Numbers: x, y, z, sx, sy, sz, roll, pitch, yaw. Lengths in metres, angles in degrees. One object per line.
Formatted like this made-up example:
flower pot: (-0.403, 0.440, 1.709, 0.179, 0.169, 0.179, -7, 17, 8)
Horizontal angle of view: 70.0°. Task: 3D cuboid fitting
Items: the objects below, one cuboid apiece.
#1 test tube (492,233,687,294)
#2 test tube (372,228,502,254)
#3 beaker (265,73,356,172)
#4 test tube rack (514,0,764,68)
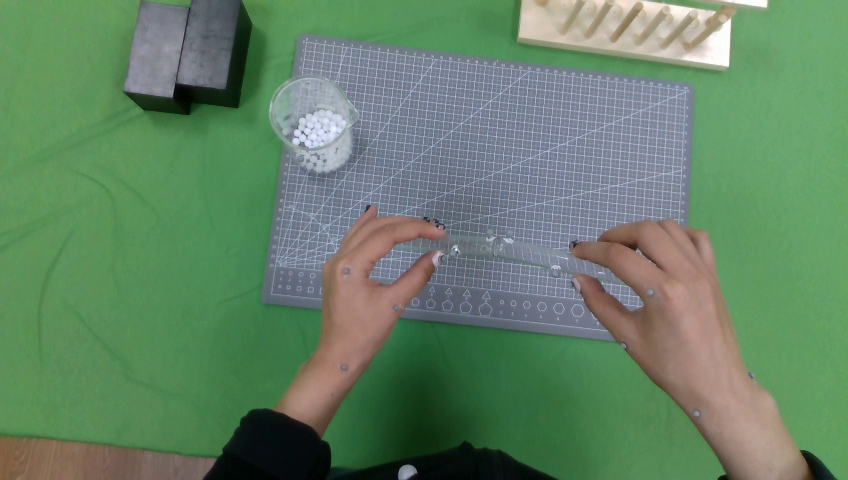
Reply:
test tube: (0.124, 0.018, 0.448, 0.151, 0.017, 0.017, 12, 81, -5)
test tube: (0.005, 0.000, 0.499, 0.017, 0.149, 0.017, -4, 95, -41)
beaker: (-0.108, -0.114, 0.610, 0.084, 0.100, 0.074, -1, 82, -4)
test tube rack: (0.228, -0.251, 0.659, 0.242, 0.085, 0.066, 7, 82, -2)
